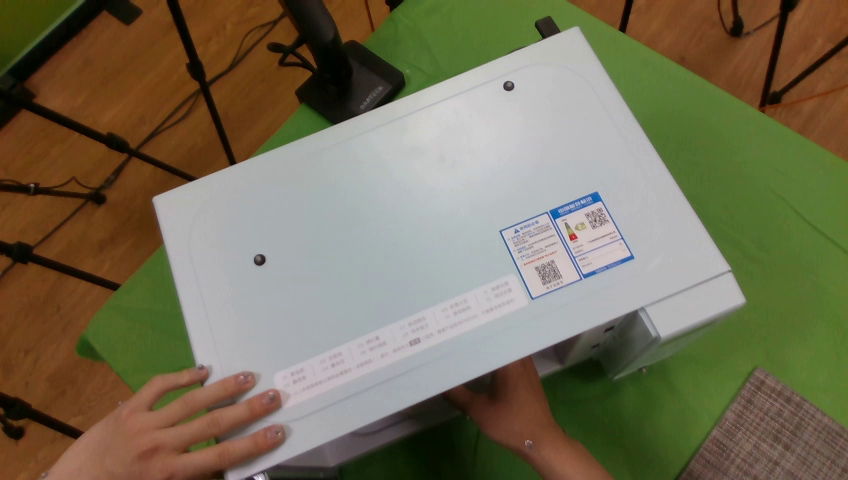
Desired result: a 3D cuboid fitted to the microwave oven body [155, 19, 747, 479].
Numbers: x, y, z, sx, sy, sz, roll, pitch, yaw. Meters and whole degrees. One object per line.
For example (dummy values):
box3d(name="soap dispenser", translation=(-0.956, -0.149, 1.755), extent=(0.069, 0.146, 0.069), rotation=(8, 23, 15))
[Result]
box3d(name="microwave oven body", translation=(0.014, 0.029, 0.639), extent=(0.442, 0.262, 0.323), rotation=(-23, 70, -2))

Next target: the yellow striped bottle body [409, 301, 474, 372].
box3d(name="yellow striped bottle body", translation=(0.019, 0.098, 0.610), extent=(0.063, 0.121, 0.062), rotation=(-1, 75, 4))

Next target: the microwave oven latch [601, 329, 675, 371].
box3d(name="microwave oven latch", translation=(0.243, 0.121, 0.685), extent=(0.079, 0.030, 0.030), rotation=(-21, 70, -1))

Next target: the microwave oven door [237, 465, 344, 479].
box3d(name="microwave oven door", translation=(0.017, 0.306, 0.532), extent=(0.354, 0.245, 0.039), rotation=(26, 74, 15))
